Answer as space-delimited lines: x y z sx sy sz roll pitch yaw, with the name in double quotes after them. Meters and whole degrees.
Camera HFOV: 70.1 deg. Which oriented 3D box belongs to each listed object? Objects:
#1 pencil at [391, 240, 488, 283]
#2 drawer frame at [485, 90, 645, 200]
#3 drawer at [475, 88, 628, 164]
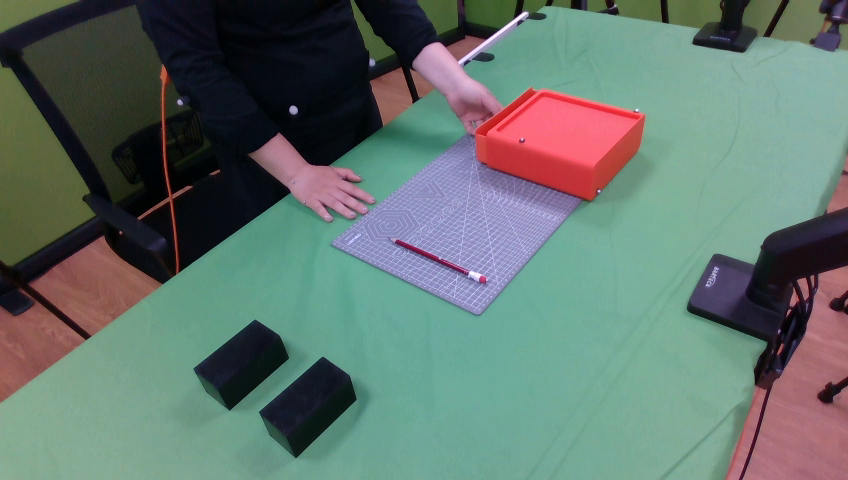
0.019 0.030 0.938 0.192 0.012 0.012 22 48 34 "pencil"
0.254 -0.179 1.094 0.212 0.083 0.202 24 48 30 "drawer frame"
0.233 -0.187 1.108 0.210 0.073 0.195 25 49 31 "drawer"
